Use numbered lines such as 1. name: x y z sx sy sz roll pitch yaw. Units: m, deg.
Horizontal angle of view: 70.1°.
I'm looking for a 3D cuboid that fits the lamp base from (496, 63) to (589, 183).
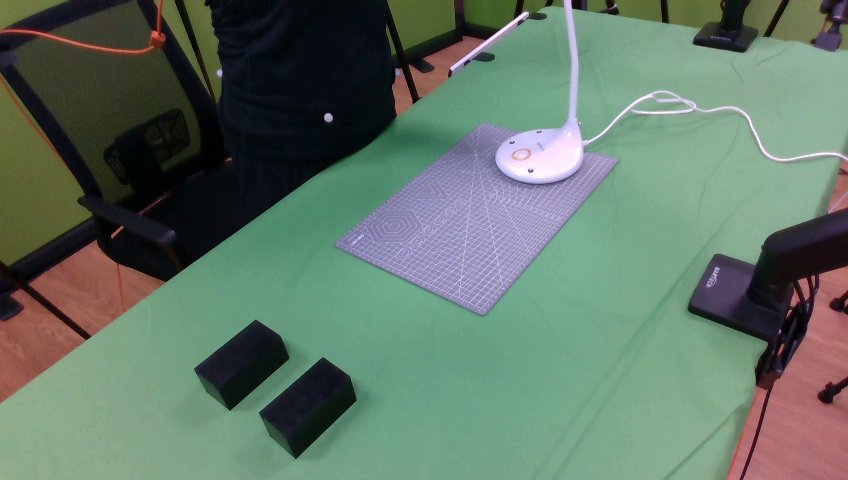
1. lamp base: 0.216 -0.217 1.067 0.180 0.181 0.159 -19 42 -18
